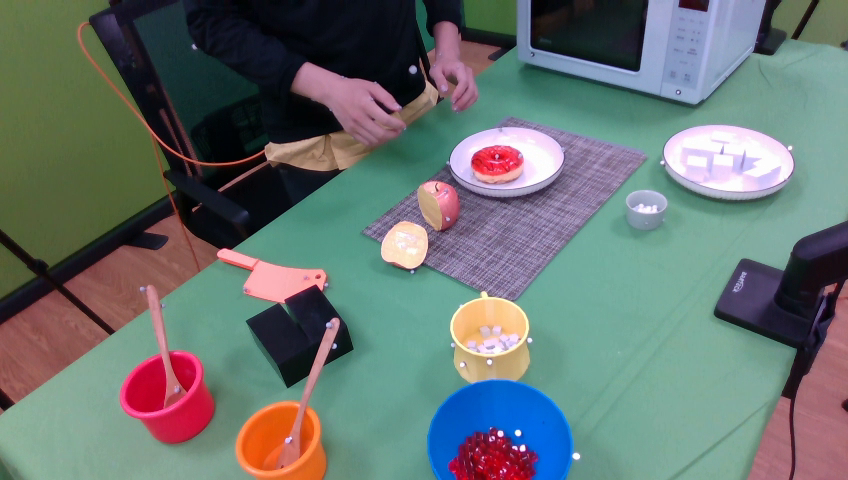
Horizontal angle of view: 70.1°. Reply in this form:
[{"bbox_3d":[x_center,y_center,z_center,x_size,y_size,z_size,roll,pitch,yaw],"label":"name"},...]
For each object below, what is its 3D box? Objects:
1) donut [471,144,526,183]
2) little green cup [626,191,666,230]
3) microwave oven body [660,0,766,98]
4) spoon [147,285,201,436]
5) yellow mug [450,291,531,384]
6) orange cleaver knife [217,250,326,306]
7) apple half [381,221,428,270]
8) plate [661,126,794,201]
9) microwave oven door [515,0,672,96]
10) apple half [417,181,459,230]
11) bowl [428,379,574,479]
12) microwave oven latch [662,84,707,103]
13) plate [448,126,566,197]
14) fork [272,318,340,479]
[{"bbox_3d":[0.134,-0.139,1.083,0.099,0.048,0.098,-6,39,5],"label":"donut"},{"bbox_3d":[0.352,-0.046,0.963,0.061,0.039,0.061,-4,40,4],"label":"little green cup"},{"bbox_3d":[0.472,-0.513,1.317,0.438,0.261,0.327,26,51,34],"label":"microwave oven body"},{"bbox_3d":[-0.318,0.148,0.754,0.042,0.021,0.193,-15,86,-8],"label":"spoon"},{"bbox_3d":[0.085,0.120,0.786,0.100,0.064,0.130,-7,39,1],"label":"yellow mug"},{"bbox_3d":[-0.247,0.059,0.945,0.210,0.012,0.077,12,49,20],"label":"orange cleaver knife"},{"bbox_3d":[-0.025,0.012,0.946,0.081,0.033,0.081,-5,73,16],"label":"apple half"},{"bbox_3d":[0.513,-0.128,1.035,0.207,0.039,0.206,-4,40,4],"label":"plate"},{"bbox_3d":[0.343,-0.455,1.259,0.353,0.245,0.039,26,51,33],"label":"microwave oven door"},{"bbox_3d":[0.030,-0.060,0.995,0.053,0.075,0.080,-23,39,-22],"label":"apple half"},{"bbox_3d":[0.082,0.233,0.644,0.151,0.077,0.150,-4,39,4],"label":"bowl"},{"bbox_3d":[0.517,-0.296,1.204,0.078,0.029,0.030,27,52,35],"label":"microwave oven latch"},{"bbox_3d":[0.150,-0.138,1.097,0.209,0.038,0.208,-4,40,4],"label":"plate"},{"bbox_3d":[-0.132,0.186,0.676,0.028,0.019,0.207,17,90,28],"label":"fork"}]
